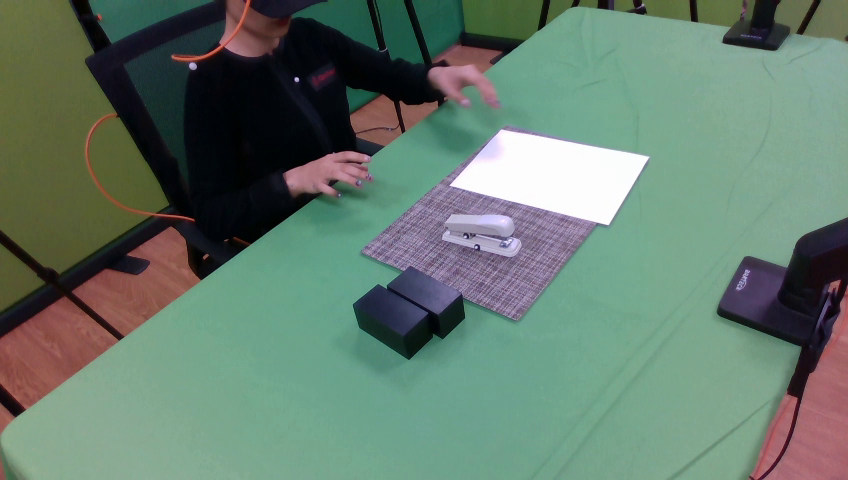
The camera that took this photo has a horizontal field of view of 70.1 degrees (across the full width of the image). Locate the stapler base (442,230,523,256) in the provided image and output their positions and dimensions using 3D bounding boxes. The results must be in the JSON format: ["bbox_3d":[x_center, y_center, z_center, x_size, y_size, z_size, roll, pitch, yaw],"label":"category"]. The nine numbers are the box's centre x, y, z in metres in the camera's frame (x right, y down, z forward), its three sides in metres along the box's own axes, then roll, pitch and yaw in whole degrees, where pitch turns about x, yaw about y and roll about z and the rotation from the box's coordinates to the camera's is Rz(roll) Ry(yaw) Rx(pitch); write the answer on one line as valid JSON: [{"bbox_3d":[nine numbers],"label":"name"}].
[{"bbox_3d":[0.093,-0.007,0.967,0.129,0.024,0.041,13,42,27],"label":"stapler base"}]

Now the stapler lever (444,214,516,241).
[{"bbox_3d":[0.088,-0.026,0.952,0.117,0.040,0.027,13,42,27],"label":"stapler lever"}]
